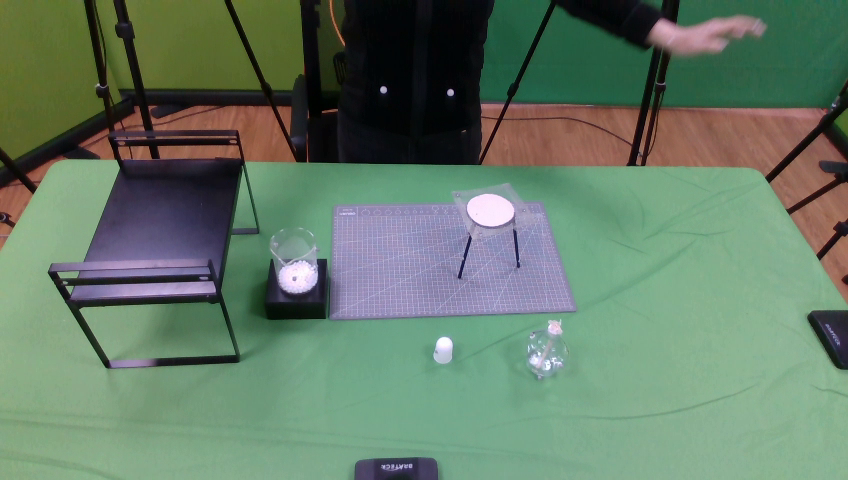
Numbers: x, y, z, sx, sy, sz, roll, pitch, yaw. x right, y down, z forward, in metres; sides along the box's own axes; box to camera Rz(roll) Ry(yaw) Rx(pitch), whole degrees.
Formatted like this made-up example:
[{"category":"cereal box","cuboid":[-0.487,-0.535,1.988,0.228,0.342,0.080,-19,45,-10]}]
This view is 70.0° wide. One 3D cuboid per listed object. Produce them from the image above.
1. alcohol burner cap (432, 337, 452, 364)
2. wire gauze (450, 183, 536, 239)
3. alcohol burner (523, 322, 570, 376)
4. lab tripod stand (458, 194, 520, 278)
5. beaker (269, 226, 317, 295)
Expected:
[{"category":"alcohol burner cap","cuboid":[0.031,0.182,1.011,0.034,0.048,0.033,4,45,-3]},{"category":"wire gauze","cuboid":[0.122,-0.057,1.087,0.121,0.011,0.124,-12,47,-14]},{"category":"alcohol burner","cuboid":[0.203,0.169,0.986,0.078,0.119,0.077,3,48,-4]},{"category":"lab tripod stand","cuboid":[0.115,-0.011,1.135,0.148,0.132,0.147,1,45,-1]},{"category":"beaker","cuboid":[-0.218,0.040,1.020,0.074,0.101,0.083,6,47,2]}]
